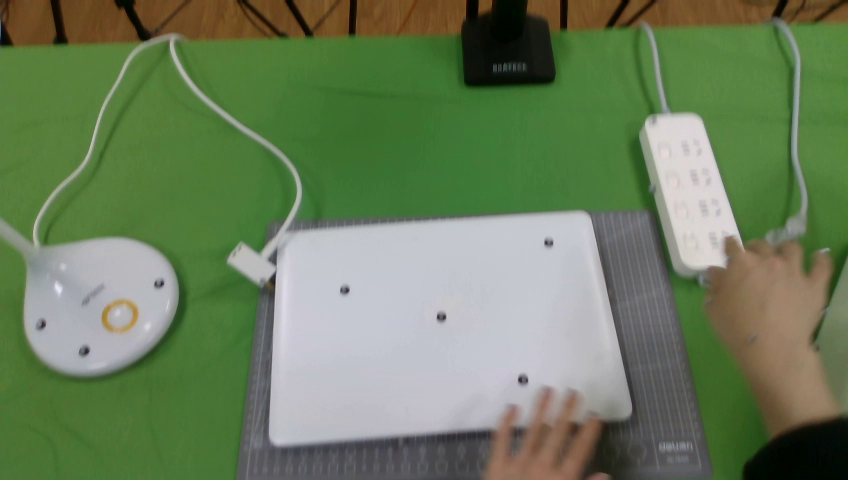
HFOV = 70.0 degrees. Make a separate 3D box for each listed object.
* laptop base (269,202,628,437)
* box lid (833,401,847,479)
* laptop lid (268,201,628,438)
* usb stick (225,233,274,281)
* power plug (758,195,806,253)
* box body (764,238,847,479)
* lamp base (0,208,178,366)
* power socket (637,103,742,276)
[{"bbox_3d":[0.018,0.076,0.642,0.354,0.023,0.233,-4,67,-1],"label":"laptop base"},{"bbox_3d":[0.492,0.087,0.461,0.262,0.015,0.370,29,68,15],"label":"box lid"},{"bbox_3d":[0.017,0.073,0.630,0.357,0.013,0.239,-3,66,0],"label":"laptop lid"},{"bbox_3d":[-0.182,0.020,0.653,0.027,0.059,0.021,-50,27,-12],"label":"usb stick"},{"bbox_3d":[0.398,-0.013,0.667,0.073,0.053,0.035,-22,61,-27],"label":"power plug"},{"bbox_3d":[0.493,0.123,0.527,0.253,0.161,0.363,29,67,15],"label":"box body"},{"bbox_3d":[-0.361,0.018,0.588,0.178,0.182,0.160,23,65,15],"label":"lamp base"},{"bbox_3d":[0.302,-0.068,0.700,0.072,0.033,0.224,-2,63,-1],"label":"power socket"}]
